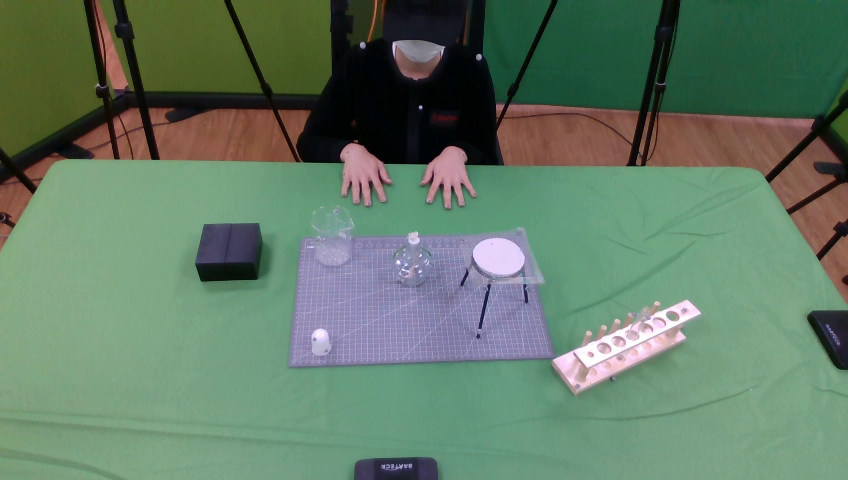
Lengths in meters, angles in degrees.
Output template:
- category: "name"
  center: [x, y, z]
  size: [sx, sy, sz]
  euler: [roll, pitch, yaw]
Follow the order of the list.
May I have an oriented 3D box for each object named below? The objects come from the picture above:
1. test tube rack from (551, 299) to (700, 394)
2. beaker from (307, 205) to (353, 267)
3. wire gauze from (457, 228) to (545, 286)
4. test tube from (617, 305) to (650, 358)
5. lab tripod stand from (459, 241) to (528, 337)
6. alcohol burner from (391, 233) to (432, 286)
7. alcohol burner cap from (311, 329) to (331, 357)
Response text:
- category: "test tube rack"
  center: [0.339, 0.166, 1.021]
  size: [0.242, 0.085, 0.066]
  euler: [-19, 50, -21]
- category: "beaker"
  center: [-0.172, -0.004, 1.132]
  size: [0.084, 0.101, 0.073]
  euler: [15, 47, 8]
- category: "wire gauze"
  center: [0.126, 0.029, 1.006]
  size: [0.125, 0.011, 0.120]
  euler: [-4, 46, -10]
- category: "test tube"
  center: [0.333, 0.149, 0.967]
  size: [0.017, 0.151, 0.017]
  euler: [0, 52, 1]
- category: "lab tripod stand"
  center: [0.122, 0.075, 1.054]
  size: [0.148, 0.132, 0.147]
  euler: [3, 44, -3]
- category: "alcohol burner"
  center: [-0.022, 0.028, 1.102]
  size: [0.078, 0.119, 0.077]
  euler: [2, 48, -2]
- category: "alcohol burner cap"
  center: [-0.173, 0.168, 1.005]
  size: [0.034, 0.048, 0.033]
  euler: [2, 46, -2]
